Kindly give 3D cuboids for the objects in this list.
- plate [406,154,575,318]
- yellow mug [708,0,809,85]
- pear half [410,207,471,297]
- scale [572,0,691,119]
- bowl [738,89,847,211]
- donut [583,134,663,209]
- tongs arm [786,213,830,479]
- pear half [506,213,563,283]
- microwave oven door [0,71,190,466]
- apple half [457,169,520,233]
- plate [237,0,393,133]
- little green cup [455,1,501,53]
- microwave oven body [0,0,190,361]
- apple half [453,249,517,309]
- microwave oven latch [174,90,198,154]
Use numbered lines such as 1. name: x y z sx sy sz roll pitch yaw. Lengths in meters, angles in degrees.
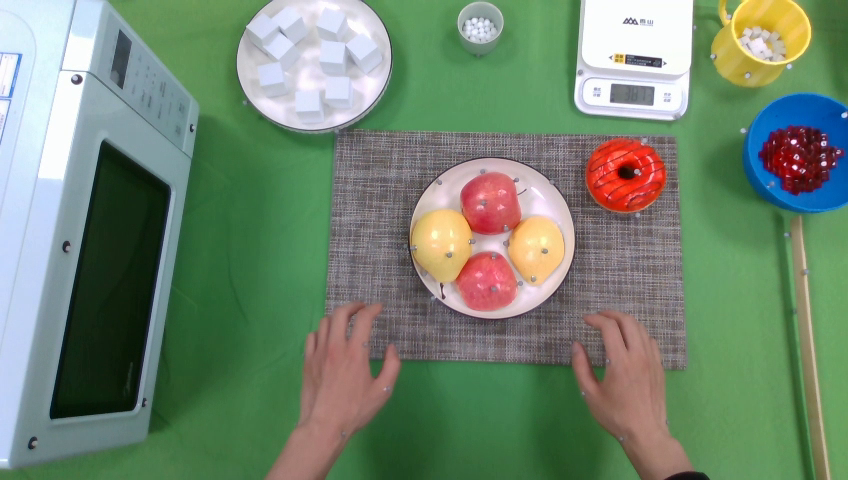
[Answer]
1. plate: 0.083 -0.004 0.760 0.209 0.038 0.208 0 78 1
2. yellow mug: 0.428 -0.276 0.796 0.100 0.064 0.130 -31 79 -4
3. pear half: 0.023 0.013 0.736 0.076 0.056 0.109 -4 81 -8
4. scale: 0.280 -0.265 0.815 0.148 0.032 0.200 6 79 3
5. bowl: 0.457 -0.101 0.755 0.151 0.077 0.150 0 79 2
6. donut: 0.251 -0.086 0.770 0.099 0.048 0.098 -1 79 4
7. tongs arm: 0.477 0.157 0.725 0.051 0.026 0.383 2 80 -3
8. pear half: 0.136 0.008 0.750 0.070 0.031 0.087 0 76 15
9. microwave oven door: -0.337 0.039 0.643 0.039 0.245 0.354 4 78 3
10. apple half: 0.080 -0.051 0.752 0.074 0.053 0.080 -10 81 2
11. plate: -0.144 -0.239 0.817 0.207 0.039 0.206 0 78 1
12. little green cup: 0.073 -0.286 0.821 0.061 0.039 0.061 0 78 2
13. microwave oven body: -0.479 -0.012 0.662 0.326 0.261 0.440 4 79 2
14. apple half: 0.075 0.046 0.741 0.081 0.033 0.081 0 72 1
15. microwave oven latch: -0.315 -0.154 0.784 0.030 0.029 0.079 6 79 2
